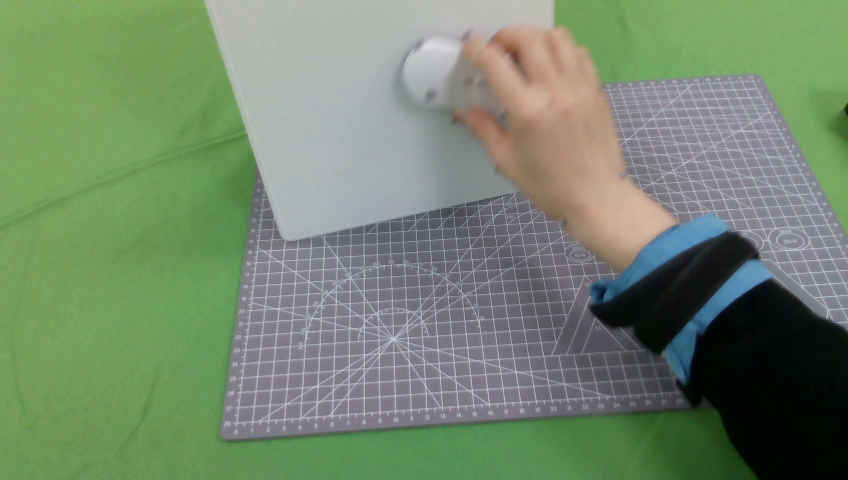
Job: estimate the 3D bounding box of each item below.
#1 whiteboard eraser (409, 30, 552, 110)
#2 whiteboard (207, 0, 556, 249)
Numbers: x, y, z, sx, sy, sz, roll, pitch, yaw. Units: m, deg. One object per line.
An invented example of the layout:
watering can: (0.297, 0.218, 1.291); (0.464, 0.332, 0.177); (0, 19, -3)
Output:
whiteboard eraser: (0.039, -0.113, 0.407); (0.102, 0.041, 0.018); (5, 33, -21)
whiteboard: (-0.031, -0.177, 0.433); (0.217, 0.308, 0.142); (-12, 37, -6)
